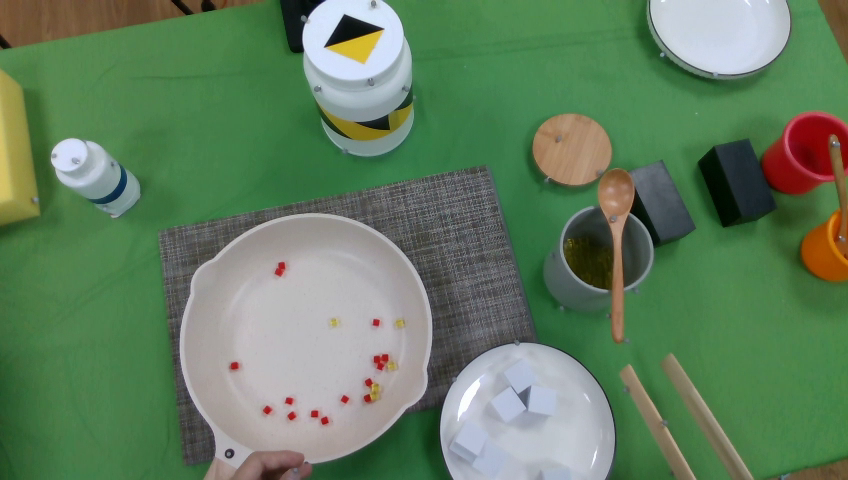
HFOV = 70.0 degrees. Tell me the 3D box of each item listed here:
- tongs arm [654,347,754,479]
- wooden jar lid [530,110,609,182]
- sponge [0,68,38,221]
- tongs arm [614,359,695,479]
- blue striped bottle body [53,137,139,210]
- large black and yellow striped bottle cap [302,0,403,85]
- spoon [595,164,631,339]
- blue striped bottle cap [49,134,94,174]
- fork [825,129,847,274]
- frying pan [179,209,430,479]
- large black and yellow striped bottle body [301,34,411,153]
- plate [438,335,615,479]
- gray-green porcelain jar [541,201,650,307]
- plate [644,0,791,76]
[{"bbox_3d":[0.343,0.284,0.625,0.028,0.028,0.383,-3,55,-29],"label":"tongs arm"},{"bbox_3d":[0.200,-0.128,0.837,0.108,0.021,0.108,0,75,0],"label":"wooden jar lid"},{"bbox_3d":[-0.602,-0.124,0.803,0.118,0.061,0.205,-17,76,-6],"label":"sponge"},{"bbox_3d":[0.307,0.289,0.607,0.051,0.026,0.381,-6,56,-27],"label":"tongs arm"},{"bbox_3d":[-0.416,-0.086,0.764,0.063,0.121,0.062,0,73,0],"label":"blue striped bottle body"},{"bbox_3d":[-0.081,-0.232,0.691,0.115,0.019,0.114,0,75,-1],"label":"large black and yellow striped bottle cap"},{"bbox_3d":[0.209,0.011,0.669,0.042,0.022,0.193,4,78,-4],"label":"spoon"},{"bbox_3d":[-0.417,-0.102,0.716,0.044,0.021,0.044,0,75,-1],"label":"blue striped bottle cap"},{"bbox_3d":[0.510,-0.044,0.749,0.028,0.018,0.209,-25,120,0],"label":"fork"},{"bbox_3d":[-0.187,0.192,0.693,0.306,0.103,0.486,27,67,8],"label":"frying pan"},{"bbox_3d":[-0.083,-0.206,0.771,0.131,0.185,0.130,0,73,0],"label":"large black and yellow striped bottle body"},{"bbox_3d":[0.120,0.220,0.725,0.208,0.039,0.206,0,75,-1],"label":"plate"},{"bbox_3d":[0.202,0.023,0.738,0.106,0.127,0.105,0,73,0],"label":"gray-green porcelain jar"},{"bbox_3d":[0.423,-0.329,0.887,0.209,0.038,0.208,0,74,0],"label":"plate"}]
